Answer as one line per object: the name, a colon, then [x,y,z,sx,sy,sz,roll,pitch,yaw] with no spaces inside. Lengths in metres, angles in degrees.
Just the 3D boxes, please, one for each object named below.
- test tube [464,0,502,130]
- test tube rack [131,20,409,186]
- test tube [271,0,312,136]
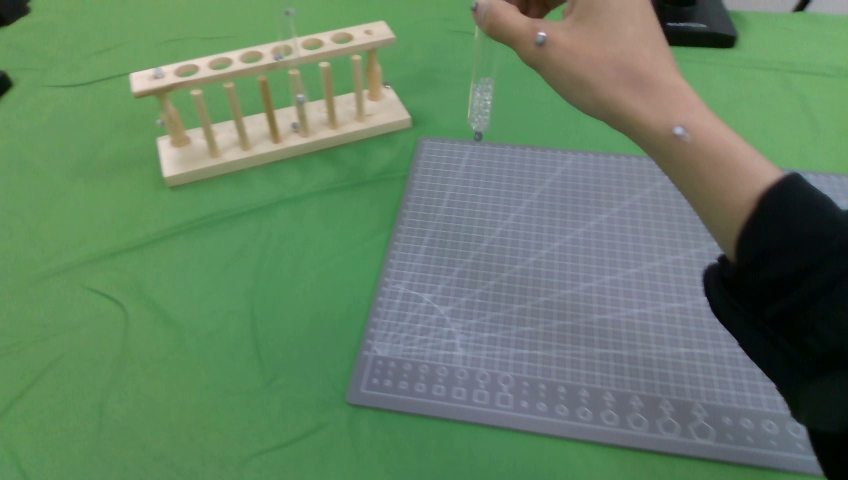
test tube: [0.035,-0.126,0.348,0.017,0.151,0.017,1,48,-1]
test tube rack: [-0.140,-0.135,0.585,0.243,0.086,0.066,-17,49,-14]
test tube: [-0.119,-0.158,0.546,0.017,0.152,0.017,0,47,0]
